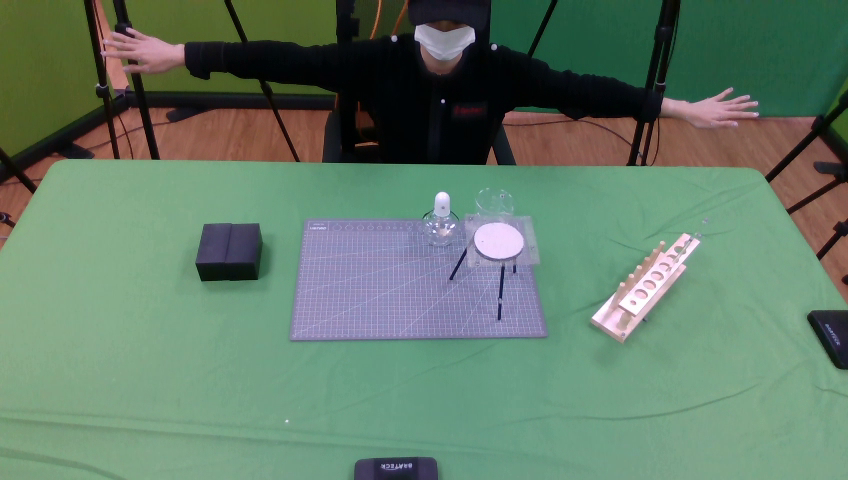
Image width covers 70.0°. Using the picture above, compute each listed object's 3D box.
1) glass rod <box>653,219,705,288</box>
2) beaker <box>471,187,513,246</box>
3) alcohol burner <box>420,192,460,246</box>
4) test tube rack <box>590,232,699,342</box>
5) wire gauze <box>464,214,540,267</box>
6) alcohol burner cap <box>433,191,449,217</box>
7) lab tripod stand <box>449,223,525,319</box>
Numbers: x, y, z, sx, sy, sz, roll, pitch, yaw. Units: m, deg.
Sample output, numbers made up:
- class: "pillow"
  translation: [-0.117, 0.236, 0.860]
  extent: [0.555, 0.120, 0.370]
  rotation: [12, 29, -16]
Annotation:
- class: "glass rod"
  translation: [0.444, 0.032, 1.063]
  extent: [0.008, 0.200, 0.008]
  rotation: [5, 49, -6]
- class: "beaker"
  translation: [0.134, -0.042, 1.190]
  extent: [0.083, 0.101, 0.074]
  rotation: [34, 53, 25]
- class: "alcohol burner"
  translation: [0.032, -0.046, 1.176]
  extent: [0.078, 0.120, 0.077]
  rotation: [2, 44, -1]
- class: "test tube rack"
  translation: [0.407, 0.074, 1.112]
  extent: [0.066, 0.085, 0.242]
  rotation: [35, 53, 26]
- class: "wire gauze"
  translation: [0.131, -0.002, 1.034]
  extent: [0.121, 0.011, 0.124]
  rotation: [1, 45, -2]
- class: "alcohol burner cap"
  translation: [0.033, -0.070, 1.150]
  extent: [0.034, 0.048, 0.033]
  rotation: [1, 44, 0]
- class: "lab tripod stand"
  translation: [0.120, 0.046, 1.080]
  extent: [0.148, 0.132, 0.147]
  rotation: [1, 47, -1]
